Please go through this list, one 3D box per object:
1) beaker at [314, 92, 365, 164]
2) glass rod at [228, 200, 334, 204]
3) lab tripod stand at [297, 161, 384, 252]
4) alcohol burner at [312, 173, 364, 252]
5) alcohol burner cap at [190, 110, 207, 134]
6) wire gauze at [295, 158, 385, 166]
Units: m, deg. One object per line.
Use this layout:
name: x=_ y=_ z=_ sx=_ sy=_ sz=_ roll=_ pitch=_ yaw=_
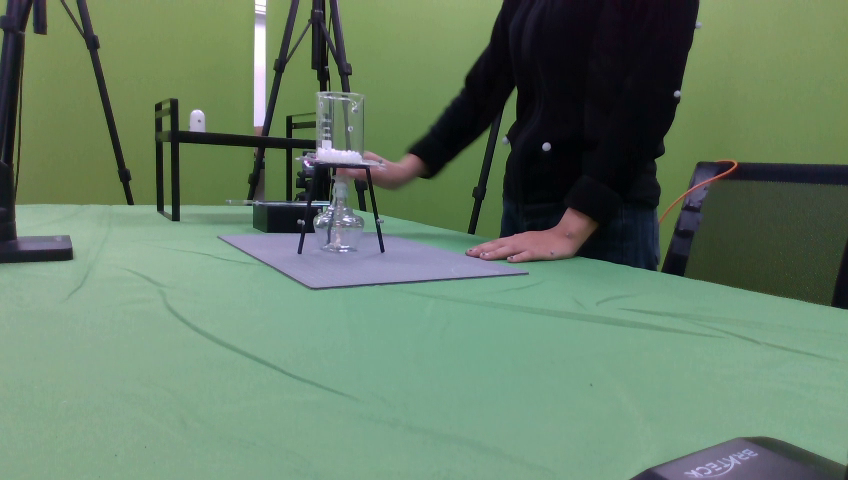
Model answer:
beaker: x=-0.123 y=-0.163 z=0.893 sx=0.073 sy=0.100 sz=0.084 roll=7 pitch=9 yaw=31
glass rod: x=-0.268 y=-0.071 z=1.148 sx=0.201 sy=0.008 sz=0.008 roll=-1 pitch=8 yaw=-28
lab tripod stand: x=-0.130 y=-0.051 z=0.903 sx=0.148 sy=0.131 sz=0.148 roll=3 pitch=9 yaw=0
alcohol burner: x=-0.129 y=-0.042 z=0.910 sx=0.078 sy=0.119 sz=0.078 roll=4 pitch=9 yaw=0
alcohol burner cap: x=-0.463 y=-0.242 z=1.240 sx=0.034 sy=0.048 sz=0.034 roll=2 pitch=7 yaw=0
wire gauze: x=-0.128 y=-0.117 z=0.901 sx=0.125 sy=0.011 sz=0.121 roll=-2 pitch=8 yaw=-14
